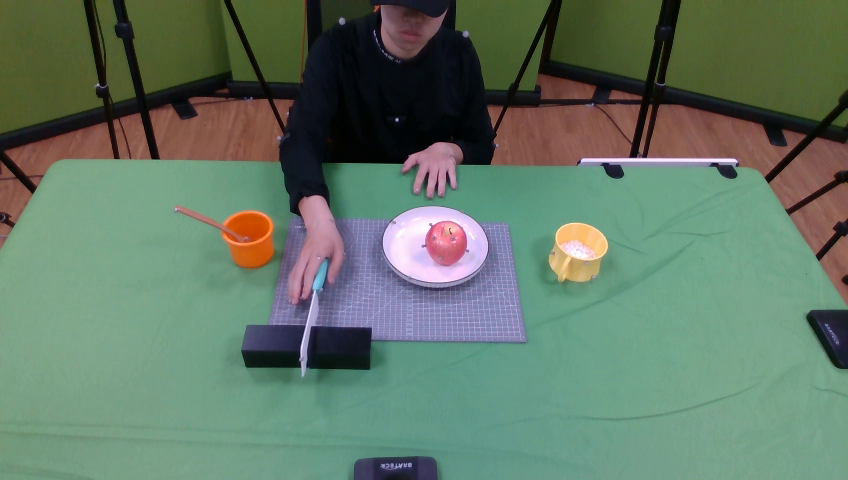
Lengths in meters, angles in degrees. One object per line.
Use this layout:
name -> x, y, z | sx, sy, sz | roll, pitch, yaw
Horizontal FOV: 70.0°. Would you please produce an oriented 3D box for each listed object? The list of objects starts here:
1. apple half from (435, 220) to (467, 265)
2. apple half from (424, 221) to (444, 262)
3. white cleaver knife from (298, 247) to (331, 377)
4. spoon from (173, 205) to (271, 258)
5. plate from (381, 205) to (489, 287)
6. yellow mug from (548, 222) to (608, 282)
apple half -> 0.054, 0.009, 1.142 | 0.053, 0.075, 0.080 | 14, 43, 3
apple half -> 0.015, 0.002, 1.144 | 0.033, 0.081, 0.081 | 14, 46, 2
white cleaver knife -> -0.190, 0.111, 1.038 | 0.021, 0.066, 0.285 | 4, 36, -1
spoon -> -0.362, -0.017, 1.098 | 0.021, 0.195, 0.041 | -32, 42, 27
plate -> 0.021, 0.015, 1.170 | 0.209, 0.038, 0.208 | 2, 46, -2
yellow mug -> 0.287, 0.031, 1.159 | 0.099, 0.064, 0.130 | 28, 51, 21
